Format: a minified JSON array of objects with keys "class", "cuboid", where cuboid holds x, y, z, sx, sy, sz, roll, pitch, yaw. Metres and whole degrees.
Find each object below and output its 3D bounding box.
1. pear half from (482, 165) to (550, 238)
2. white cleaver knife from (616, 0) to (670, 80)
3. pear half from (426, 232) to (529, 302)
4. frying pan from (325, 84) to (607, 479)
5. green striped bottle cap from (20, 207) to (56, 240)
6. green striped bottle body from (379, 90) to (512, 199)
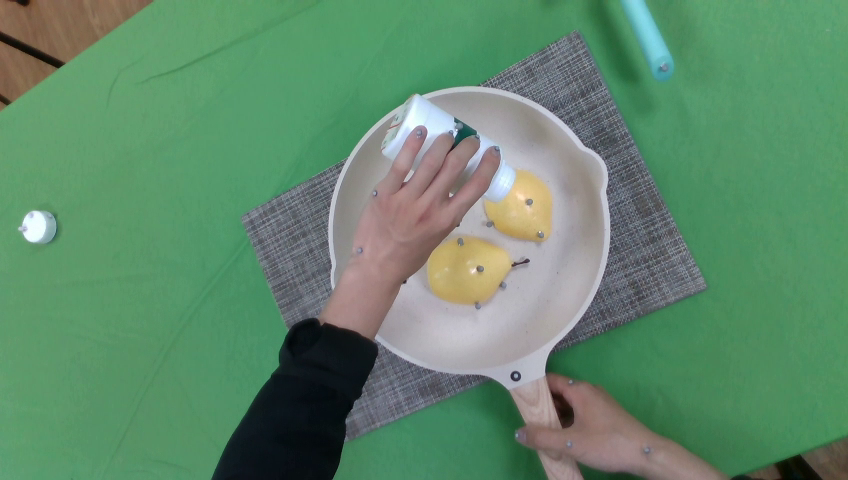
[{"class":"pear half","cuboid":[0.099,-0.039,0.645,0.070,0.031,0.087,-42,77,17]},{"class":"white cleaver knife","cuboid":[0.182,-0.290,0.609,0.021,0.066,0.285,-24,82,19]},{"class":"pear half","cuboid":[0.056,0.027,0.645,0.109,0.056,0.076,-13,92,14]},{"class":"frying pan","cuboid":[0.077,0.083,0.616,0.306,0.103,0.485,-24,76,15]},{"class":"green striped bottle cap","cuboid":[-0.524,-0.022,0.822,0.044,0.020,0.044,0,90,16]},{"class":"green striped bottle body","cuboid":[0.024,-0.081,0.560,0.120,0.062,0.063,28,98,-19]}]
